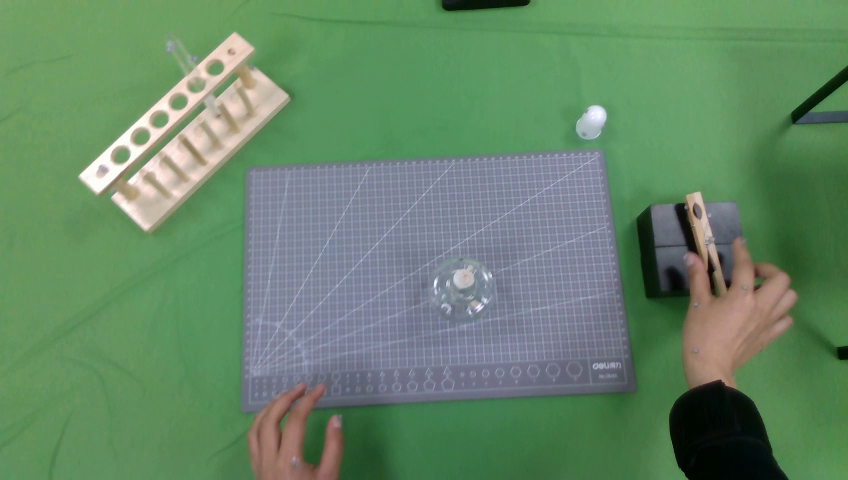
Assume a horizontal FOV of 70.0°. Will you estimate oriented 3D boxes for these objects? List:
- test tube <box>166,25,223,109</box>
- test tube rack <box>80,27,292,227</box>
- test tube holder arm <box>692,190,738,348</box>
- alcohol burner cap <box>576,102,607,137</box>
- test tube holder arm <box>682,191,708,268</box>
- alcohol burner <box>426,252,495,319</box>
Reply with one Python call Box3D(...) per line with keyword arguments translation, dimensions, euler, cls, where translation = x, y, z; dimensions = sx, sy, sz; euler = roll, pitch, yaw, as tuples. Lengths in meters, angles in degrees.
Box3D(translation=(-0.258, -0.192, 0.691), dimensions=(0.017, 0.151, 0.017), euler=(0, 72, 0), cls="test tube")
Box3D(translation=(-0.276, -0.134, 0.727), dimensions=(0.066, 0.085, 0.242), euler=(41, 80, 10), cls="test tube rack")
Box3D(translation=(0.320, 0.031, 0.671), dimensions=(0.013, 0.015, 0.177), euler=(-14, 80, 13), cls="test tube holder arm")
Box3D(translation=(0.210, -0.152, 0.755), dimensions=(0.034, 0.048, 0.033), euler=(0, 75, 0), cls="alcohol burner cap")
Box3D(translation=(0.306, -0.012, 0.680), dimensions=(0.010, 0.015, 0.087), euler=(-13, 80, 14), cls="test tube holder arm")
Box3D(translation=(0.041, 0.046, 0.666), dimensions=(0.078, 0.119, 0.077), euler=(0, 74, -1), cls="alcohol burner")
